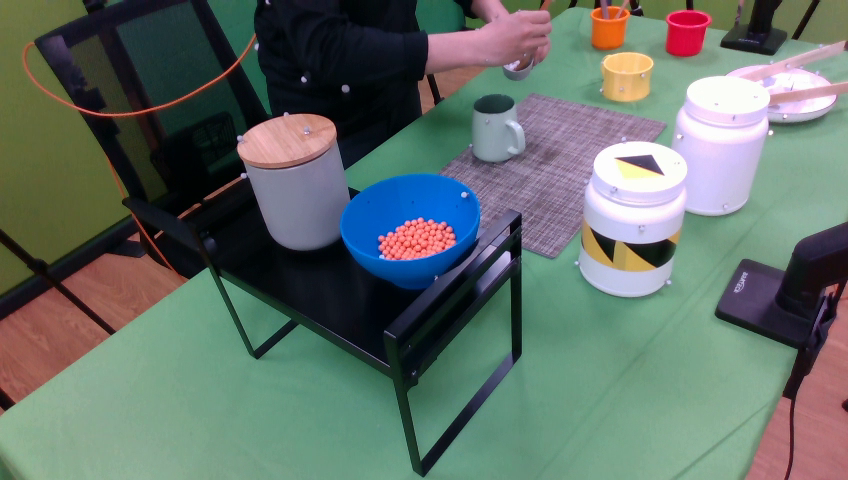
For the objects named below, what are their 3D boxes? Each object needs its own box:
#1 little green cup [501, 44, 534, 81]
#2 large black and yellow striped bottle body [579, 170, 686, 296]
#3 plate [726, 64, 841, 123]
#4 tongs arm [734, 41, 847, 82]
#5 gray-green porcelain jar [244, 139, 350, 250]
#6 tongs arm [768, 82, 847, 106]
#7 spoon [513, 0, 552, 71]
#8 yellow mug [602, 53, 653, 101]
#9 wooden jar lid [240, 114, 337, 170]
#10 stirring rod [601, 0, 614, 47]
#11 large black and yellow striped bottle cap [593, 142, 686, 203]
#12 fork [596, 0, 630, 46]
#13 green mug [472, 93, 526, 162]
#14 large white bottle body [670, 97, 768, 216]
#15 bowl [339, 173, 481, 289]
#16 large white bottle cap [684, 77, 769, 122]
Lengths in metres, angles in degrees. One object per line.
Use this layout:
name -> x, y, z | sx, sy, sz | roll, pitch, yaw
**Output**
little green cup -> 0.175, -0.326, 1.117 | 0.061, 0.039, 0.061 | -6, 69, 16
large black and yellow striped bottle body -> 0.287, -0.027, 0.842 | 0.131, 0.185, 0.130 | -4, 41, 4
plate -> 0.695, -0.282, 1.189 | 0.207, 0.039, 0.206 | -4, 40, 4
tongs arm -> 0.712, -0.332, 1.194 | 0.386, 0.026, 0.050 | -18, 45, -16
gray-green porcelain jar -> -0.144, -0.060, 0.714 | 0.106, 0.127, 0.105 | -4, 41, 4
tongs arm -> 0.738, -0.282, 1.134 | 0.388, 0.028, 0.028 | -9, 47, -5
spoon -> 0.191, -0.362, 1.035 | 0.021, 0.194, 0.041 | 28, 58, 6
yellow mug -> 0.423, -0.354, 1.292 | 0.100, 0.064, 0.129 | -23, 41, -16
wooden jar lid -> -0.149, -0.106, 0.673 | 0.108, 0.021, 0.108 | -6, 39, 5
stirring rod -> 0.439, -0.552, 1.463 | 0.014, 0.006, 0.175 | -7, 83, 3
large black and yellow striped bottle cap -> 0.280, -0.090, 0.786 | 0.115, 0.019, 0.114 | -5, 41, 5
fork -> 0.481, -0.556, 1.453 | 0.028, 0.019, 0.207 | 40, 103, 38
green mug -> 0.144, -0.202, 1.122 | 0.093, 0.105, 0.124 | -29, 45, -23
large white bottle body -> 0.458, -0.146, 0.952 | 0.130, 0.185, 0.130 | -4, 40, 4
bowl -> -0.011, 0.001, 0.660 | 0.151, 0.077, 0.150 | -5, 41, 5
large white bottle cap -> 0.448, -0.209, 0.898 | 0.115, 0.018, 0.114 | -4, 40, 4
